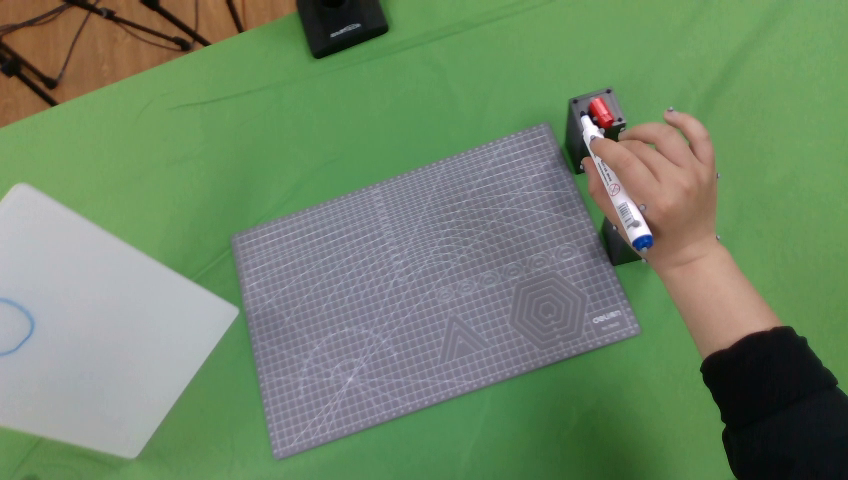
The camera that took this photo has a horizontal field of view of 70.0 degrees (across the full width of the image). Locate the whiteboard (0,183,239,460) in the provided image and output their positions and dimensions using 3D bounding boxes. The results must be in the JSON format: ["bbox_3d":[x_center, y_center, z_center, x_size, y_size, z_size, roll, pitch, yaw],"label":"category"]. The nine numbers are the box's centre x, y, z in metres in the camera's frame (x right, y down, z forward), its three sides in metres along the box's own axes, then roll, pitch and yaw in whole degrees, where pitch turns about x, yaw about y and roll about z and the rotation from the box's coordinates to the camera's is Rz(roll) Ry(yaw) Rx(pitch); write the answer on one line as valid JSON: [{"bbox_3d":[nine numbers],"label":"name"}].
[{"bbox_3d":[-0.409,0.086,0.680,0.142,0.309,0.217,25,76,37],"label":"whiteboard"}]

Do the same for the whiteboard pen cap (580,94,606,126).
[{"bbox_3d":[0.189,-0.144,0.673,0.017,0.017,0.032,-25,70,1],"label":"whiteboard pen cap"}]

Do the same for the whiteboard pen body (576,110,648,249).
[{"bbox_3d":[0.145,-0.054,0.481,0.017,0.017,0.139,-16,59,4],"label":"whiteboard pen body"}]
